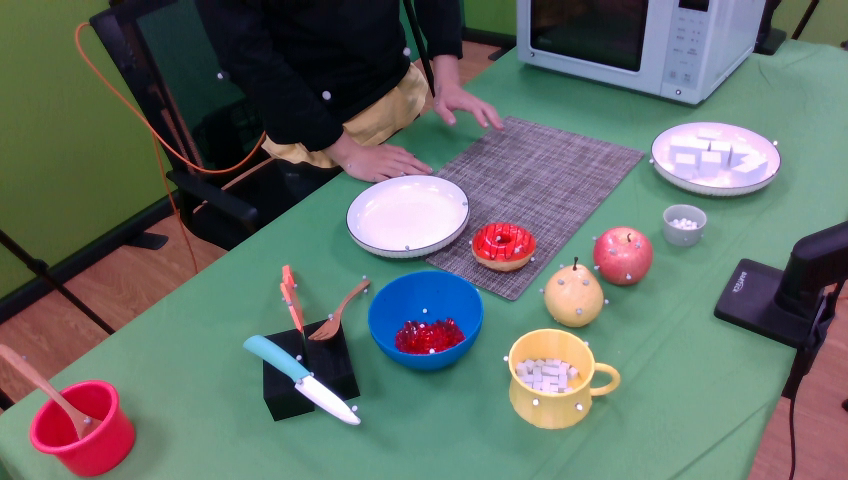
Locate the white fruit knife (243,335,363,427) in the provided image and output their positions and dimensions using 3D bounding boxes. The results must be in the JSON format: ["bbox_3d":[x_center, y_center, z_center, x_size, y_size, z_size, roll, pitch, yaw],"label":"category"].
[{"bbox_3d":[-0.148,0.167,0.729,0.206,0.016,0.027,27,80,31],"label":"white fruit knife"}]

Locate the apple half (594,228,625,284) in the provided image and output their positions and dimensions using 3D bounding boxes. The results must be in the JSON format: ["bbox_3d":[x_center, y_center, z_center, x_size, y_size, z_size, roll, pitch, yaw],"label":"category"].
[{"bbox_3d":[0.259,0.026,0.864,0.033,0.081,0.081,-3,40,0],"label":"apple half"}]

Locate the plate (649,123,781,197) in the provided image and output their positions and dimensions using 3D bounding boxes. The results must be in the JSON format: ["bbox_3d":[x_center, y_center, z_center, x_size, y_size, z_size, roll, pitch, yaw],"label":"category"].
[{"bbox_3d":[0.497,-0.135,1.046,0.207,0.039,0.206,-4,40,4],"label":"plate"}]

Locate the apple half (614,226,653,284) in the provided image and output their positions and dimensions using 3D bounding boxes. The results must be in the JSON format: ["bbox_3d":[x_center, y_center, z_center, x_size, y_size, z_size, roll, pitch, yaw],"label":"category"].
[{"bbox_3d":[0.298,0.023,0.864,0.053,0.075,0.080,-3,37,1],"label":"apple half"}]

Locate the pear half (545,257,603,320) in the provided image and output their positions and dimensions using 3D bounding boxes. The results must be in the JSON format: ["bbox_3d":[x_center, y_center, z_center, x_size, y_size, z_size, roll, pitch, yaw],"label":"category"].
[{"bbox_3d":[0.197,0.056,0.811,0.076,0.110,0.055,-14,41,-13],"label":"pear half"}]

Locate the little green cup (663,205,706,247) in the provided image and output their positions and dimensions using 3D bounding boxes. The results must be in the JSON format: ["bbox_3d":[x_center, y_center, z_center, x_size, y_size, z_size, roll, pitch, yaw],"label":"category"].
[{"bbox_3d":[0.396,-0.020,0.926,0.061,0.039,0.061,-4,40,4],"label":"little green cup"}]

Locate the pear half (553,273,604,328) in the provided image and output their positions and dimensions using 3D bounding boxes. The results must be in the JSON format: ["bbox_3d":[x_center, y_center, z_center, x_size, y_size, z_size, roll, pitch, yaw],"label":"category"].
[{"bbox_3d":[0.208,0.086,0.791,0.071,0.088,0.031,-14,39,-15],"label":"pear half"}]

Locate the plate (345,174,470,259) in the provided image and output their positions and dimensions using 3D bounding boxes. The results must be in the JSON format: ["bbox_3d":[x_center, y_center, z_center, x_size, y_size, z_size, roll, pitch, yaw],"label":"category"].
[{"bbox_3d":[-0.026,-0.036,1.004,0.209,0.038,0.208,-4,40,4],"label":"plate"}]

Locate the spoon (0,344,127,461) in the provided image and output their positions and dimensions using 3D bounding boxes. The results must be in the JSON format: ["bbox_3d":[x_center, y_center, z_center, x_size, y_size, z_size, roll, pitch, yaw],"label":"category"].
[{"bbox_3d":[-0.433,0.191,0.721,0.194,0.021,0.042,47,54,-7],"label":"spoon"}]

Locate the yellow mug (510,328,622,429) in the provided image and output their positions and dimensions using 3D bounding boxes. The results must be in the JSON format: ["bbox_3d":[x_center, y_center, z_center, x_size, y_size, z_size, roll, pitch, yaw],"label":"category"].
[{"bbox_3d":[0.168,0.164,0.722,0.130,0.064,0.099,0,40,8],"label":"yellow mug"}]

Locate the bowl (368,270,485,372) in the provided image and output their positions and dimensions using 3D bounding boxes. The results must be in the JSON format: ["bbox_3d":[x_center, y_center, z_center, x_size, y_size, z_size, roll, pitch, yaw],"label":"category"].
[{"bbox_3d":[0.007,0.118,0.791,0.151,0.077,0.150,-5,40,4],"label":"bowl"}]

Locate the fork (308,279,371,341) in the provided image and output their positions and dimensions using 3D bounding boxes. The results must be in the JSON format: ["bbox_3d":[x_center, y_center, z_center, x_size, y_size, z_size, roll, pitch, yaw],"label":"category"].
[{"bbox_3d":[-0.109,0.093,0.832,0.028,0.018,0.207,-3,19,15],"label":"fork"}]

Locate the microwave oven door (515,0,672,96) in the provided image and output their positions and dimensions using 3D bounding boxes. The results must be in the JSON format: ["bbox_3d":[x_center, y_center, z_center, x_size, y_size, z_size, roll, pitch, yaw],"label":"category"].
[{"bbox_3d":[0.343,-0.454,1.259,0.353,0.245,0.039,26,51,33],"label":"microwave oven door"}]

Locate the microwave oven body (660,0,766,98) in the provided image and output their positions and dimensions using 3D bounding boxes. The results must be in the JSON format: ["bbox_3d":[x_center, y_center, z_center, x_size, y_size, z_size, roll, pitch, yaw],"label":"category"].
[{"bbox_3d":[0.472,-0.513,1.317,0.438,0.261,0.327,26,51,34],"label":"microwave oven body"}]

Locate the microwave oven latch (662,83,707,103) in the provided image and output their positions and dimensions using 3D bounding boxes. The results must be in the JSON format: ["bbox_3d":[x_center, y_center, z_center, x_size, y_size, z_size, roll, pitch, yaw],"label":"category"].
[{"bbox_3d":[0.517,-0.296,1.204,0.078,0.029,0.030,27,52,35],"label":"microwave oven latch"}]

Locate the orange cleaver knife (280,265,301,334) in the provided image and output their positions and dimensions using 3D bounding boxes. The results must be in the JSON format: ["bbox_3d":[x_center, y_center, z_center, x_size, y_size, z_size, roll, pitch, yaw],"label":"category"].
[{"bbox_3d":[-0.188,0.081,0.862,0.012,0.077,0.210,-20,12,-9],"label":"orange cleaver knife"}]

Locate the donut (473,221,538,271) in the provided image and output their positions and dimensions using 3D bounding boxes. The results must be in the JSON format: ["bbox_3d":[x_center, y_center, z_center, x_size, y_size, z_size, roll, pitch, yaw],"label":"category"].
[{"bbox_3d":[0.123,0.008,0.923,0.099,0.048,0.098,-4,38,3],"label":"donut"}]
